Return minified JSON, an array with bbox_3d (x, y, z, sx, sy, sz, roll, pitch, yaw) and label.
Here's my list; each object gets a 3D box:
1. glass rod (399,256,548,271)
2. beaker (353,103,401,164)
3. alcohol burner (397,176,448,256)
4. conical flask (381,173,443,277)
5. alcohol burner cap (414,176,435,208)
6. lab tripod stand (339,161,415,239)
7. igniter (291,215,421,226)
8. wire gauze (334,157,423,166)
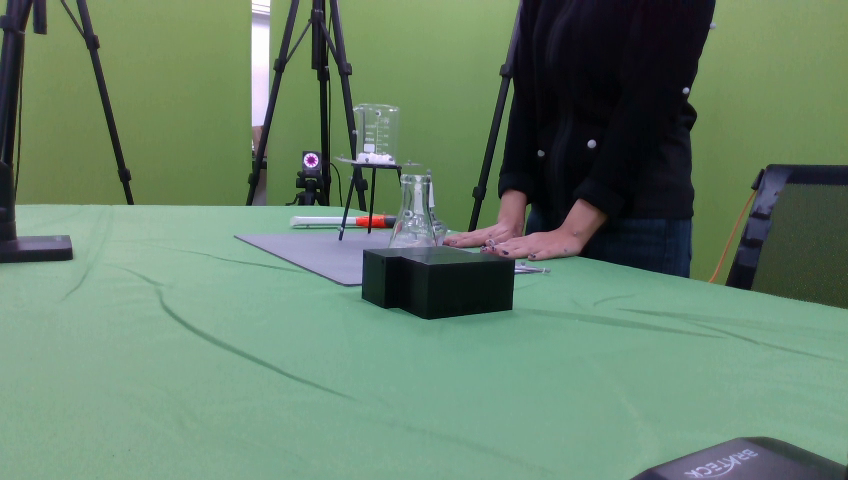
[{"bbox_3d":[0.064,0.031,0.806,0.199,0.008,0.008,4,7,10],"label":"glass rod"},{"bbox_3d":[-0.083,-0.182,1.046,0.084,0.100,0.074,4,6,3],"label":"beaker"},{"bbox_3d":[-0.001,-0.036,0.903,0.078,0.119,0.078,4,9,0],"label":"alcohol burner"},{"bbox_3d":[-0.012,-0.020,0.732,0.075,0.122,0.075,2,7,0],"label":"conical flask"},{"bbox_3d":[-0.001,-0.072,0.898,0.034,0.048,0.034,-3,10,1],"label":"alcohol burner cap"},{"bbox_3d":[-0.082,-0.070,1.059,0.148,0.131,0.148,4,6,0],"label":"lab tripod stand"},{"bbox_3d":[-0.135,-0.040,1.250,0.278,0.025,0.057,-1,-3,-28],"label":"igniter"},{"bbox_3d":[-0.081,-0.135,1.051,0.122,0.011,0.124,2,5,-30],"label":"wire gauze"}]
